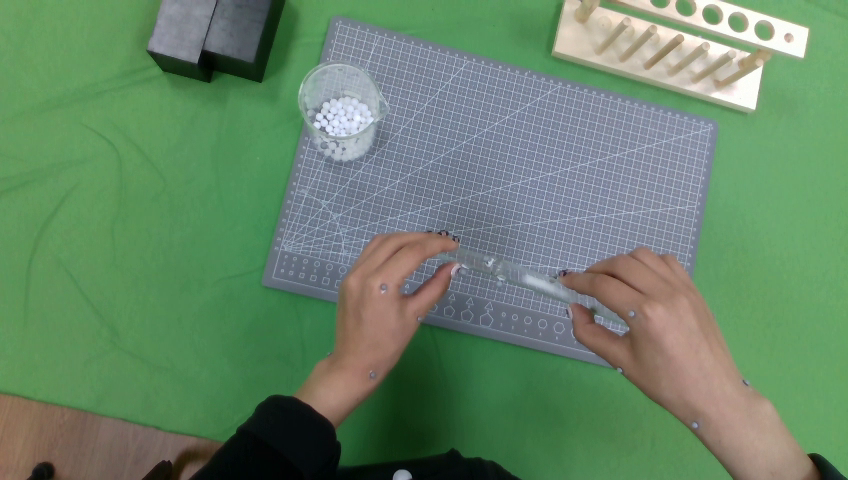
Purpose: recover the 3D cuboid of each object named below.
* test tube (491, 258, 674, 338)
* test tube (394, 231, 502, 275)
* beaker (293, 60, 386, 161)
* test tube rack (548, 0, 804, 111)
[{"bbox_3d":[0.124,0.046,0.475,0.150,0.017,0.017,20,81,2],"label":"test tube"},{"bbox_3d":[0.016,0.010,0.541,0.017,0.149,0.017,-8,103,-33],"label":"test tube"},{"bbox_3d":[-0.082,-0.122,0.596,0.084,0.100,0.074,6,83,-6],"label":"beaker"},{"bbox_3d":[0.268,-0.216,0.657,0.243,0.085,0.066,14,82,-5],"label":"test tube rack"}]
